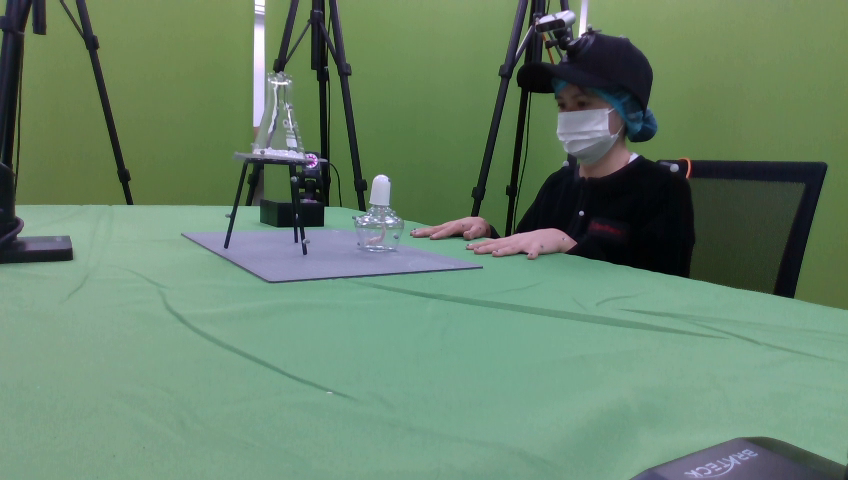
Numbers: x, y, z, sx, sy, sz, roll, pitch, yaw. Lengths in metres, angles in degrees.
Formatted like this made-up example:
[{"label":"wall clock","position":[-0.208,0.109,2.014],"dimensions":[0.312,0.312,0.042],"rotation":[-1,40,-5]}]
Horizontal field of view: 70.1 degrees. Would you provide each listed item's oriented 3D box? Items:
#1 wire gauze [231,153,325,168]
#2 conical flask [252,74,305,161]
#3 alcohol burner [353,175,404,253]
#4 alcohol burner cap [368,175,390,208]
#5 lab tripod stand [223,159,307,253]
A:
[{"label":"wire gauze","position":[-0.215,-0.117,0.882],"dimensions":[0.125,0.011,0.121],"rotation":[3,7,-19]},{"label":"conical flask","position":[-0.211,-0.176,0.879],"dimensions":[0.075,0.122,0.075],"rotation":[3,6,0]},{"label":"alcohol burner","position":[-0.069,-0.040,0.927],"dimensions":[0.078,0.119,0.078],"rotation":[1,9,0]},{"label":"alcohol burner cap","position":[-0.067,-0.075,0.923],"dimensions":[0.034,0.048,0.034],"rotation":[8,11,-1]},{"label":"lab tripod stand","position":[-0.220,-0.053,0.896],"dimensions":[0.148,0.131,0.148],"rotation":[1,6,0]}]
